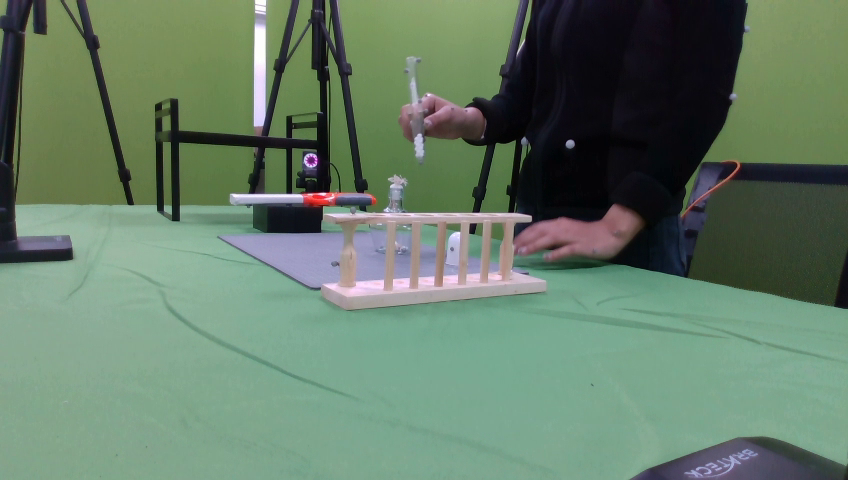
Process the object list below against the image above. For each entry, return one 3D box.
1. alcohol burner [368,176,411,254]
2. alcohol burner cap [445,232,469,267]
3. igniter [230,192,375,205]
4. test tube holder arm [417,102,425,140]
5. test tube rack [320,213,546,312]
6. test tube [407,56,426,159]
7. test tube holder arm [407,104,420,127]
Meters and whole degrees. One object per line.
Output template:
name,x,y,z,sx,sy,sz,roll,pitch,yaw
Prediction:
alcohol burner,-0.045,-0.038,0.912,0.078,0.119,0.078,5,8,0
alcohol burner cap,0.045,0.013,0.829,0.034,0.048,0.034,2,8,0
igniter,-0.226,-0.079,1.161,0.278,0.025,0.057,-2,15,-28
test tube holder arm,-0.006,-0.183,0.948,0.013,0.015,0.178,-6,-3,0
test tube rack,0.017,0.017,0.638,0.244,0.085,0.066,-2,9,-31
test tube,-0.011,-0.192,0.881,0.017,0.150,0.017,-5,0,0
test tube holder arm,-0.013,-0.185,0.903,0.010,0.015,0.088,-7,-3,8
